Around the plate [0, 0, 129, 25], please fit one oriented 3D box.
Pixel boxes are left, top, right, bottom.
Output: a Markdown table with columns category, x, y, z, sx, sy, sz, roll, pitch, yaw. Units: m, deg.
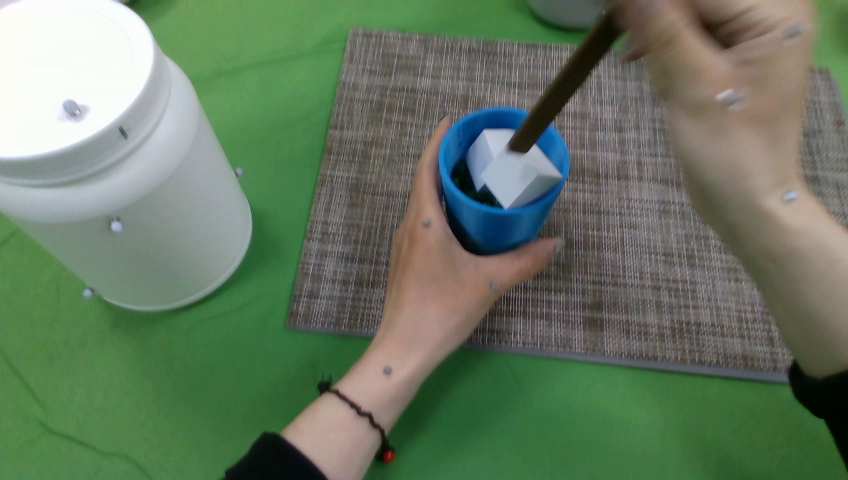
| category | x | y | z | sx | sy | sz | roll | pitch | yaw |
| --- | --- | --- | --- | --- | --- | --- | --- | --- | --- |
| plate | -0.350 | -0.282 | 0.593 | 0.208 | 0.039 | 0.206 | 1 | 63 | -1 |

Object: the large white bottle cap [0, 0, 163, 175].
| category | x | y | z | sx | sy | sz | roll | pitch | yaw |
| --- | --- | --- | --- | --- | --- | --- | --- | --- | --- |
| large white bottle cap | -0.197 | -0.085 | 0.316 | 0.115 | 0.018 | 0.114 | 1 | 62 | -1 |

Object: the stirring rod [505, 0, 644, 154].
| category | x | y | z | sx | sy | sz | roll | pitch | yaw |
| --- | --- | --- | --- | --- | --- | --- | --- | --- | --- |
| stirring rod | 0.081 | -0.094 | 0.281 | 0.014 | 0.177 | 0.005 | 5 | 60 | -19 |

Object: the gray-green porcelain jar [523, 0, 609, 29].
| category | x | y | z | sx | sy | sz | roll | pitch | yaw |
| --- | --- | --- | --- | --- | --- | --- | --- | --- | --- |
| gray-green porcelain jar | 0.143 | -0.267 | 0.546 | 0.106 | 0.127 | 0.105 | 0 | 62 | 0 |

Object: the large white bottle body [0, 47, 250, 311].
| category | x | y | z | sx | sy | sz | roll | pitch | yaw |
| --- | --- | --- | --- | --- | --- | --- | --- | --- | --- |
| large white bottle body | -0.198 | -0.044 | 0.390 | 0.131 | 0.186 | 0.129 | 1 | 63 | -1 |
